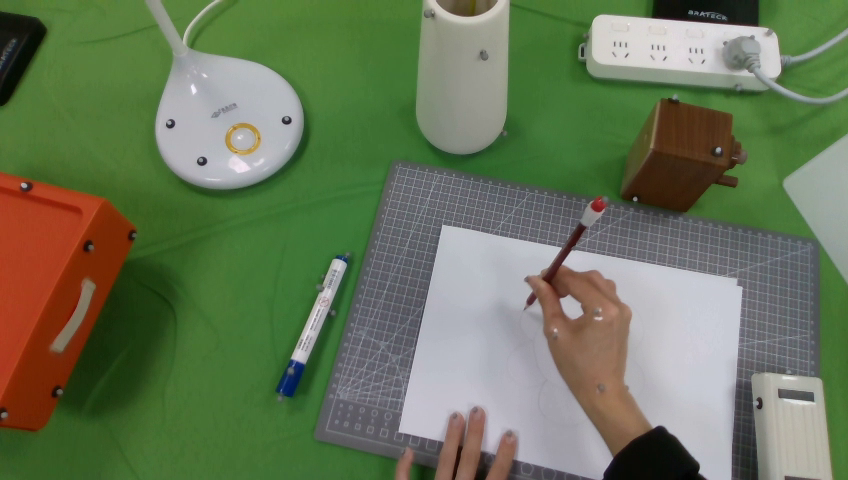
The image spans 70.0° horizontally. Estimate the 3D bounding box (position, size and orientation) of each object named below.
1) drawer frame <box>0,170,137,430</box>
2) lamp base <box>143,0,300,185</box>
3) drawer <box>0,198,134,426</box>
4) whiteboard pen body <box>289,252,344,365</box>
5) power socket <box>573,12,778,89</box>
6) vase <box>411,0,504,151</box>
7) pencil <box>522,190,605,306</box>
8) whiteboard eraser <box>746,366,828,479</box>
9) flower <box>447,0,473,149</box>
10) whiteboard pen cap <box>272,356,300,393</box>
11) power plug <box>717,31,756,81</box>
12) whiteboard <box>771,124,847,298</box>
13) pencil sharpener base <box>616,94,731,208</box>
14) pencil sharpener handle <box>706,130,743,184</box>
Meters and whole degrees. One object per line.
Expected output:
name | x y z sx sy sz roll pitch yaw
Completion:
drawer frame | -0.404 0.037 0.529 0.213 0.083 0.200 14 70 4
lamp base | -0.228 -0.169 0.599 0.160 0.181 0.178 -41 71 -14
drawer | -0.398 0.037 0.527 0.211 0.074 0.193 14 71 6
whiteboard pen body | -0.108 0.074 0.587 0.017 0.017 0.140 16 66 7
power socket | 0.287 -0.216 0.690 0.227 0.033 0.072 6 70 3
vase | 0.032 -0.171 0.587 0.098 0.201 0.097 -1 68 2
pencil | 0.110 0.016 0.513 0.012 0.195 0.012 4 60 -7
whiteboard eraser | 0.317 0.170 0.533 0.055 0.042 0.112 6 69 2
flower | 0.041 -0.216 0.516 0.038 0.364 0.043 -1 50 -7
whiteboard pen cap | -0.127 0.125 0.564 0.018 0.018 0.033 16 64 8
power plug | 0.334 -0.193 0.656 0.035 0.053 0.072 15 71 7
whiteboard | 0.514 -0.056 0.513 0.144 0.306 0.215 -12 67 -24
pencil sharpener base | 0.245 -0.084 0.600 0.076 0.108 0.061 14 69 6
pencil sharpener handle | 0.294 -0.076 0.583 0.030 0.068 0.036 14 68 6
